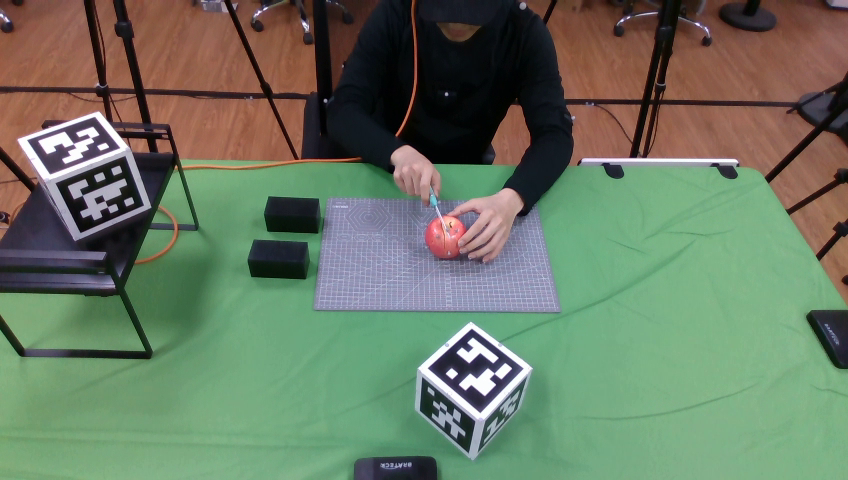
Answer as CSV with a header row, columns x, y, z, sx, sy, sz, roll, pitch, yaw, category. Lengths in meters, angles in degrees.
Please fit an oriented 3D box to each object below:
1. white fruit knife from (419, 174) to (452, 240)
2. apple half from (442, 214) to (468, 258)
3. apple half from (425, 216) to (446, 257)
x,y,z,sx,sy,sz,roll,pitch,yaw,category
0.024,-0.067,1.165,0.016,0.027,0.206,-17,43,-6,white fruit knife
0.057,-0.006,1.163,0.053,0.075,0.080,-3,43,-13,apple half
0.018,-0.003,1.155,0.033,0.081,0.080,-5,47,-11,apple half
